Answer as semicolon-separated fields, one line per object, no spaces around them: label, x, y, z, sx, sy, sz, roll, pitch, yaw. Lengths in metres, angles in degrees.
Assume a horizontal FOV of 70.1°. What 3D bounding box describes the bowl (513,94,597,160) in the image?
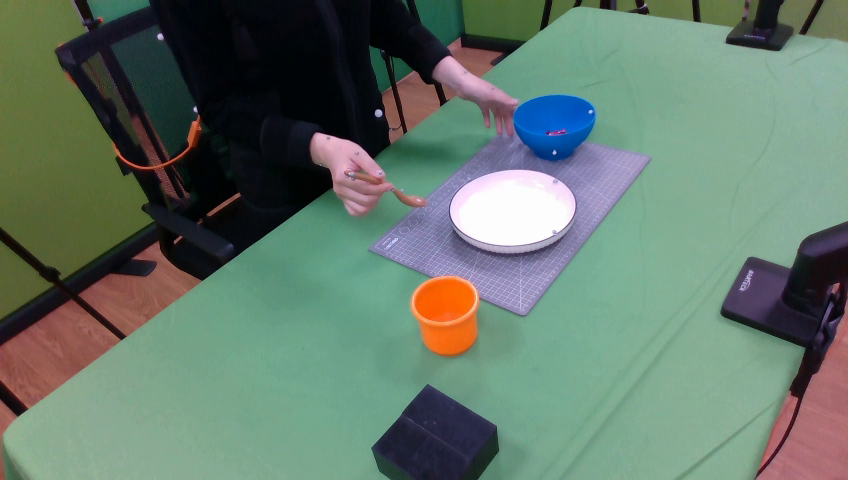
bowl;0.244;-0.202;1.130;0.151;0.077;0.150;-6;40;5

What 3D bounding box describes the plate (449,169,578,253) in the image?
plate;0.146;-0.044;0.993;0.209;0.038;0.208;-5;40;5

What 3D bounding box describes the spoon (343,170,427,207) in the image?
spoon;-0.054;-0.077;0.881;0.041;0.195;0.021;30;94;33
